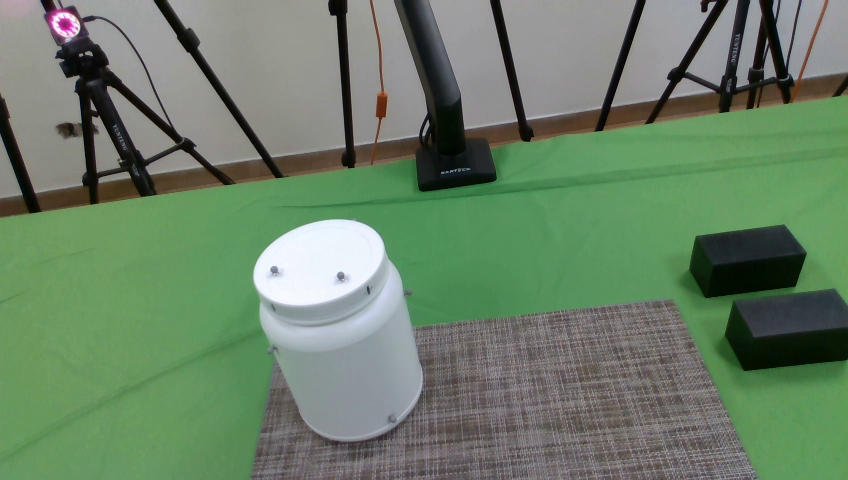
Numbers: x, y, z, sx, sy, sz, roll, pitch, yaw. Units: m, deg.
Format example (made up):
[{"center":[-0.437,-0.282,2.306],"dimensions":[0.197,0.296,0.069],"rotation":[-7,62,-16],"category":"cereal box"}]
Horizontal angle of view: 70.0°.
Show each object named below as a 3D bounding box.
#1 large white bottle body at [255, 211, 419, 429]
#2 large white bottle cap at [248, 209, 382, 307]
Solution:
[{"center":[-0.081,0.077,0.577],"dimensions":[0.130,0.186,0.129],"rotation":[-6,40,5],"category":"large white bottle body"},{"center":[-0.094,0.013,0.524],"dimensions":[0.115,0.018,0.113],"rotation":[-6,39,5],"category":"large white bottle cap"}]
